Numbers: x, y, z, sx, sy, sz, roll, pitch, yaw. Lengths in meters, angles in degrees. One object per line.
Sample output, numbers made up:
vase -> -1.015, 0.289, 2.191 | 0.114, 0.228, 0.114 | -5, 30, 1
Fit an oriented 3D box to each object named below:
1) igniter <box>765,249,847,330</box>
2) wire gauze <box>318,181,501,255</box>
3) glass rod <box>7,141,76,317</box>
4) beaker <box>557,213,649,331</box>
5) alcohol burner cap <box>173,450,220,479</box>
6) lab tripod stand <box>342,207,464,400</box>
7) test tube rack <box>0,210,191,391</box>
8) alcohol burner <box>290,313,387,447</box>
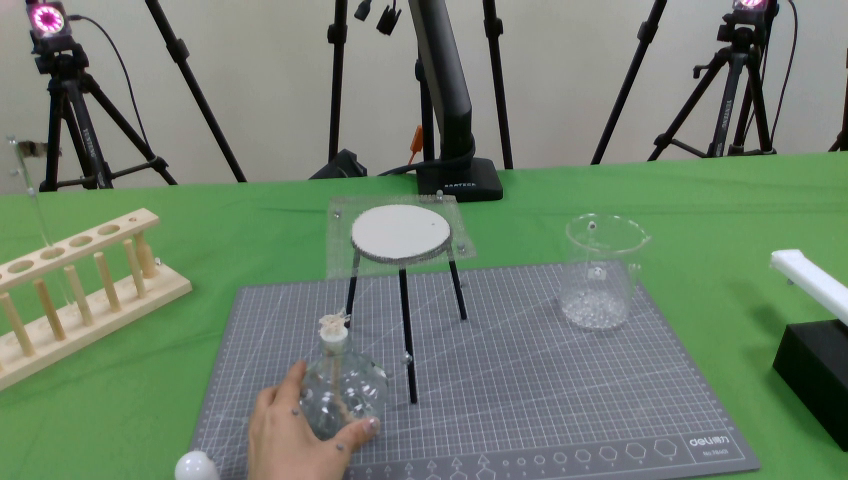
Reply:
igniter -> 0.382, 0.081, 0.507 | 0.057, 0.025, 0.274 | -5, 28, -5
wire gauze -> -0.016, -0.020, 0.510 | 0.125, 0.011, 0.120 | -9, 28, -26
glass rod -> -0.364, -0.002, 0.580 | 0.008, 0.201, 0.008 | 3, 34, -1
beaker -> 0.175, 0.034, 0.606 | 0.084, 0.101, 0.073 | 0, 32, 2
alcohol burner cap -> -0.168, 0.176, 0.447 | 0.034, 0.048, 0.033 | 1, 33, 0
lab tripod stand -> -0.018, 0.049, 0.558 | 0.148, 0.132, 0.147 | 0, 33, 0
test tube rack -> -0.367, 0.061, 0.604 | 0.066, 0.086, 0.242 | 24, 40, 34
alcohol burner -> -0.069, 0.107, 0.485 | 0.078, 0.120, 0.077 | 1, 30, 0
